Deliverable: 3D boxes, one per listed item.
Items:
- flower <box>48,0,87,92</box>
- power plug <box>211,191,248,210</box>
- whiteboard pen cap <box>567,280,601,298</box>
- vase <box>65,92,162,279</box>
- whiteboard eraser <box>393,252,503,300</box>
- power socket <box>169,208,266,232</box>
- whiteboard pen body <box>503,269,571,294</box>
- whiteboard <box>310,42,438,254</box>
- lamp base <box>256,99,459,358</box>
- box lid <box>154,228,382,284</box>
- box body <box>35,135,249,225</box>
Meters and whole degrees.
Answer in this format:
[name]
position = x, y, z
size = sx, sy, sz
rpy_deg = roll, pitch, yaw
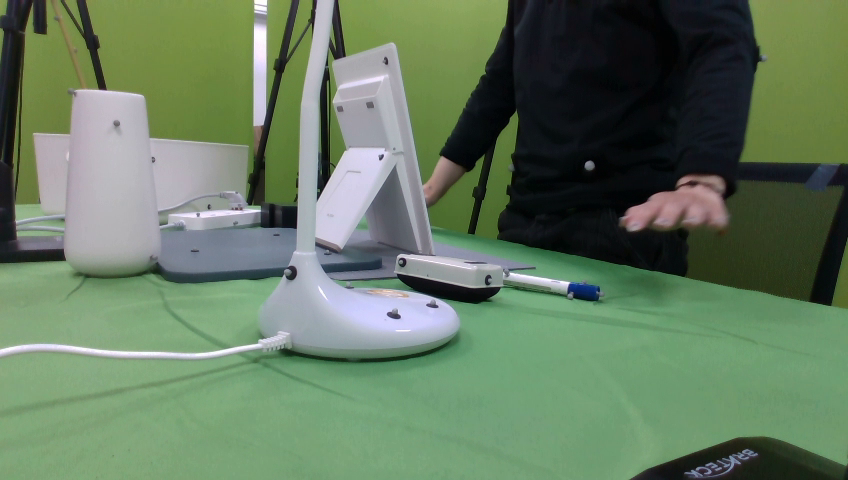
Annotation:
[flower]
position = -0.361, -0.141, 0.659
size = 0.038, 0.361, 0.044
rpy_deg = -13, 11, 12
[power plug]
position = -0.384, -0.072, 1.206
size = 0.072, 0.052, 0.035
rpy_deg = 1, 7, 28
[whiteboard pen cap]
position = 0.171, 0.052, 0.648
size = 0.033, 0.018, 0.018
rpy_deg = 9, 10, 31
[vase]
position = -0.347, -0.060, 0.673
size = 0.098, 0.200, 0.098
rpy_deg = 0, 7, 0
[whiteboard eraser]
position = 0.024, 0.037, 0.637
size = 0.112, 0.042, 0.056
rpy_deg = 8, 7, 42
[power socket]
position = -0.379, -0.038, 1.130
size = 0.072, 0.032, 0.227
rpy_deg = 4, 8, 18
[whiteboard pen body]
position = 0.122, 0.046, 0.680
size = 0.140, 0.017, 0.017
rpy_deg = 8, 9, 30
[whiteboard]
position = -0.121, -0.112, 0.890
size = 0.144, 0.305, 0.216
rpy_deg = -19, 17, -26
[lamp base]
position = -0.055, -0.013, 0.463
size = 0.160, 0.180, 0.180
rpy_deg = 6, 11, 27
[box lid]
position = -0.250, 0.014, 0.853
size = 0.265, 0.015, 0.369
rpy_deg = -3, 9, -32
[box body]
position = -0.561, -0.127, 1.258
size = 0.254, 0.160, 0.365
rpy_deg = 4, 8, 13
